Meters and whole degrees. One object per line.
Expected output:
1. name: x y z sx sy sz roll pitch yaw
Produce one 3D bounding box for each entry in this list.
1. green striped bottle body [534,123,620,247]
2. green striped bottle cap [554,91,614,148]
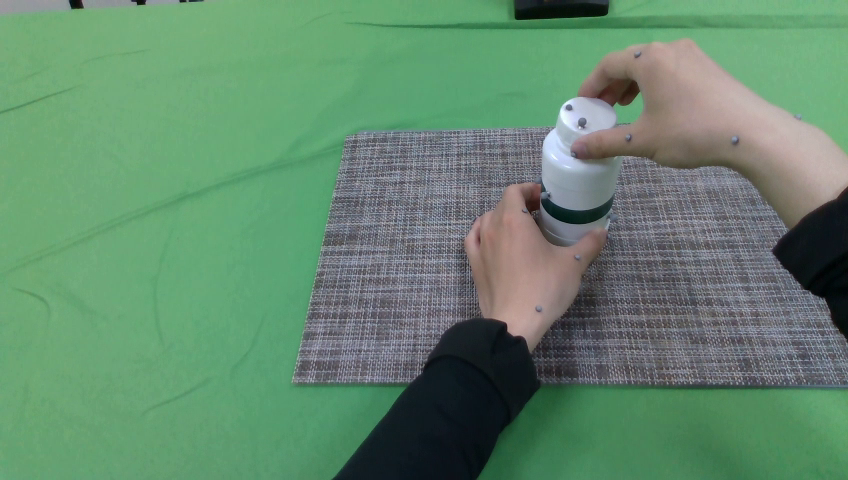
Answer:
1. green striped bottle body: 0.126 -0.054 0.506 0.063 0.120 0.062 -3 50 4
2. green striped bottle cap: 0.122 -0.093 0.463 0.044 0.020 0.044 -1 55 1
